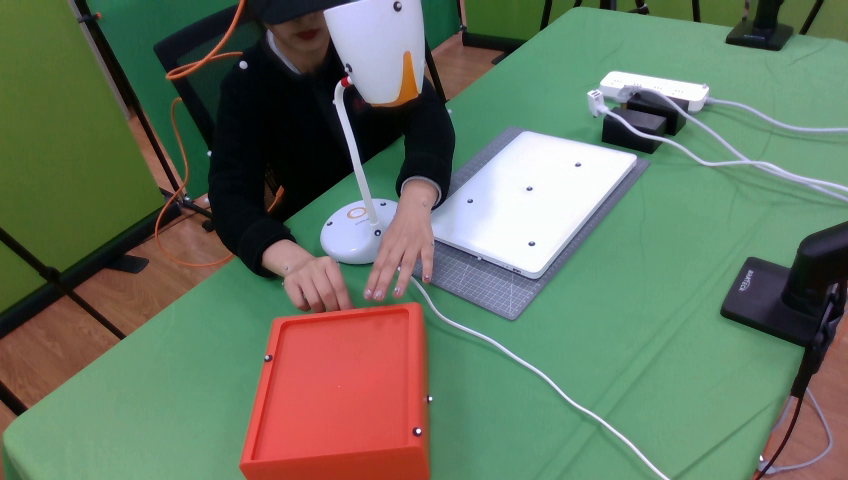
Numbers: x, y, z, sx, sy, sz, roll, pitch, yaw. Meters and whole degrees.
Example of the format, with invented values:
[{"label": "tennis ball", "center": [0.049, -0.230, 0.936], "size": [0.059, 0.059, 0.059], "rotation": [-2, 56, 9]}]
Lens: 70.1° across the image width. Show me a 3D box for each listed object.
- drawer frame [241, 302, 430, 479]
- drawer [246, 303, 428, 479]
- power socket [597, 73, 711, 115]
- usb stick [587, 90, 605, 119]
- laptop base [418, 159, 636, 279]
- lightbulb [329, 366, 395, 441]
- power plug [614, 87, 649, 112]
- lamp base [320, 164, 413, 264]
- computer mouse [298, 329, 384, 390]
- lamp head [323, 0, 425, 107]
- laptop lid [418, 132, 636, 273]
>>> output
[{"label": "drawer frame", "center": [-0.095, 0.184, 0.739], "size": [0.202, 0.083, 0.212], "rotation": [-7, 40, 3]}, {"label": "drawer", "center": [-0.097, 0.184, 0.743], "size": [0.194, 0.073, 0.210], "rotation": [-6, 41, 3]}, {"label": "power socket", "center": [0.469, -0.304, 1.249], "size": [0.225, 0.033, 0.072], "rotation": [20, 49, 30]}, {"label": "usb stick", "center": [0.334, -0.258, 1.170], "size": [0.021, 0.059, 0.027], "rotation": [-28, 44, -5]}, {"label": "laptop base", "center": [0.185, -0.074, 1.042], "size": [0.233, 0.023, 0.355], "rotation": [20, 48, 35]}, {"label": "lightbulb", "center": [-0.080, 0.195, 0.738], "size": [0.060, 0.060, 0.107], "rotation": [-32, 61, -25]}, {"label": "power plug", "center": [0.406, -0.275, 1.192], "size": [0.035, 0.053, 0.072], "rotation": [-16, 24, -15]}, {"label": "lamp base", "center": [-0.102, -0.069, 0.963], "size": [0.161, 0.181, 0.177], "rotation": [-29, 46, -19]}, {"label": "computer mouse", "center": [-0.111, 0.156, 0.798], "size": [0.117, 0.041, 0.062], "rotation": [-14, 41, 1]}, {"label": "lamp head", "center": [-0.051, -0.217, 0.708], "size": [0.112, 0.123, 0.112], "rotation": [-9, 24, 4]}, {"label": "laptop lid", "center": [0.181, -0.084, 1.036], "size": [0.239, 0.013, 0.358], "rotation": [22, 49, 35]}]
